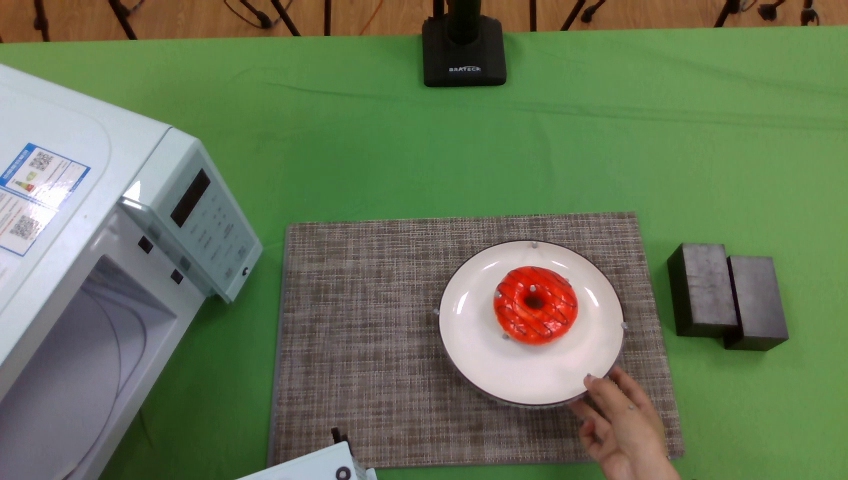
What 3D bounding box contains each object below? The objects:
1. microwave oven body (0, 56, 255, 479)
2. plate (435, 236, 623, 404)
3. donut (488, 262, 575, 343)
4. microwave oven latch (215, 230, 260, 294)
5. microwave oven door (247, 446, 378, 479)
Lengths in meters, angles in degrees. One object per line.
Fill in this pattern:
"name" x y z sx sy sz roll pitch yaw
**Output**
"microwave oven body" -0.431 0.078 0.589 0.325 0.262 0.439 21 68 8
"plate" 0.118 0.091 0.695 0.209 0.038 0.207 -2 57 4
"donut" 0.123 0.071 0.693 0.099 0.048 0.098 -2 58 3
"microwave oven latch" -0.225 0.022 0.722 0.030 0.030 0.079 21 68 9
"microwave oven door" -0.217 0.253 0.505 0.356 0.245 0.039 -18 66 -8
